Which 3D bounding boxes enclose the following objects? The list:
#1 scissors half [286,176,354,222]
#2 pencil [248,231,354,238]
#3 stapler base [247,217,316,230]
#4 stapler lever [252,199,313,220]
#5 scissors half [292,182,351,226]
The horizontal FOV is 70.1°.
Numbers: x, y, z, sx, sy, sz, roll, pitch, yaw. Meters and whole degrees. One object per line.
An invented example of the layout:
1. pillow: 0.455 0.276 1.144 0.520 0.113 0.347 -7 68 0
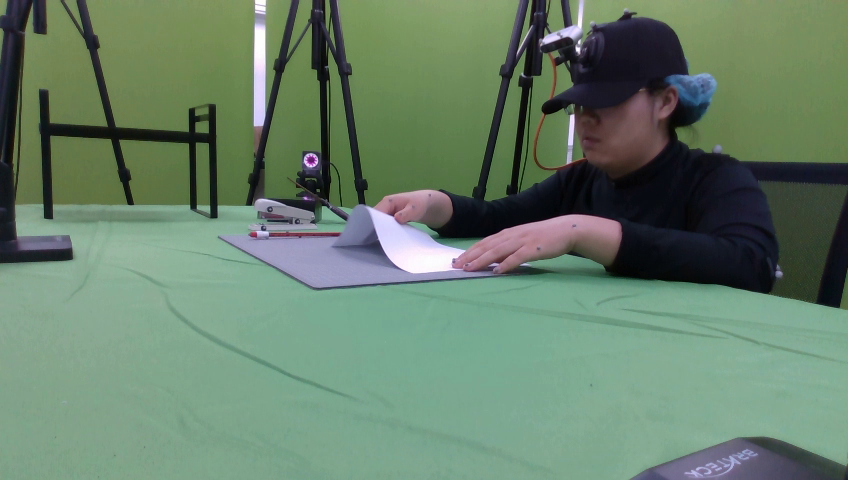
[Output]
1. scissors half: -0.229 -0.091 1.337 0.175 0.013 0.040 33 15 -13
2. pencil: -0.206 -0.008 1.040 0.195 0.012 0.012 0 8 -36
3. stapler base: -0.276 -0.033 1.172 0.131 0.024 0.041 0 10 -37
4. stapler lever: -0.273 -0.058 1.170 0.119 0.040 0.026 0 10 -37
5. scissors half: -0.232 -0.085 1.317 0.175 0.013 0.040 38 20 4
